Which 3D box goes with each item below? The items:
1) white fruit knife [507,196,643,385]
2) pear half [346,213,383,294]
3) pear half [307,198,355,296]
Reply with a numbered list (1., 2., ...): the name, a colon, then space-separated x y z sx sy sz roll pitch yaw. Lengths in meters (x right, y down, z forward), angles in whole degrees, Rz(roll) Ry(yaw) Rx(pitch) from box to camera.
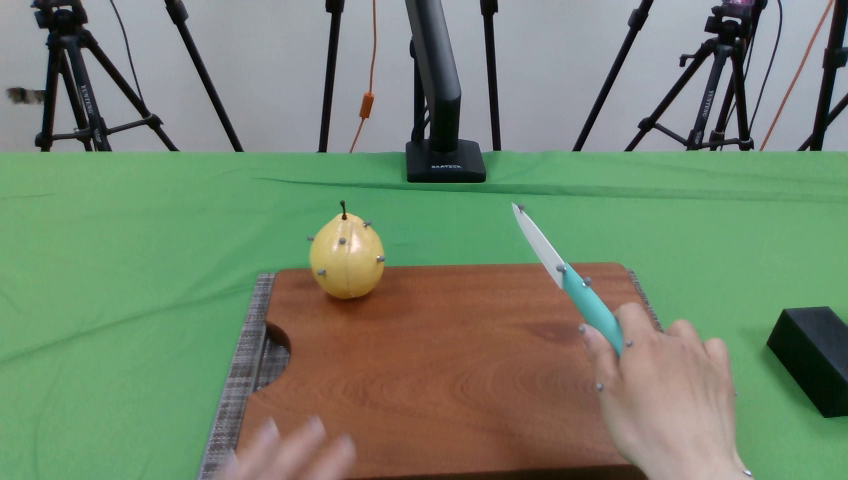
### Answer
1. white fruit knife: 0.118 0.029 0.505 0.016 0.027 0.205 -7 45 -26
2. pear half: -0.058 0.014 0.629 0.031 0.088 0.070 3 29 4
3. pear half: -0.094 0.002 0.627 0.056 0.110 0.076 5 32 4
